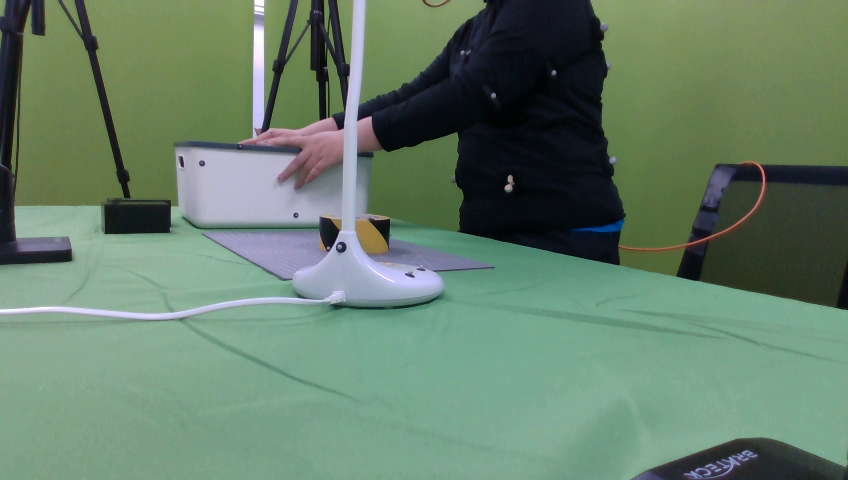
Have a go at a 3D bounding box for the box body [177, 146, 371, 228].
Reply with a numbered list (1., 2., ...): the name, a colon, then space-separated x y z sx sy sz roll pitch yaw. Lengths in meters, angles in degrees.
1. box body: -0.319 -0.117 1.280 0.366 0.160 0.253 -1 8 -29

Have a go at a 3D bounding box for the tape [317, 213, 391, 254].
1. tape: -0.109 -0.012 0.938 0.117 0.052 0.117 2 7 0

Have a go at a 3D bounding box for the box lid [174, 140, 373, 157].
1. box lid: -0.319 -0.190 1.270 0.373 0.015 0.262 -1 8 -29

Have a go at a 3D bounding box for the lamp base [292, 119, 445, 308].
1. lamp base: -0.056 -0.030 0.616 0.160 0.180 0.179 3 10 8
